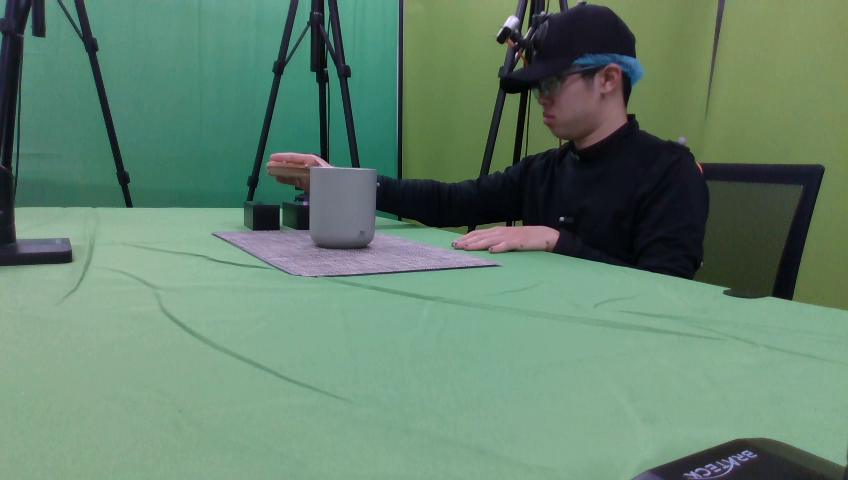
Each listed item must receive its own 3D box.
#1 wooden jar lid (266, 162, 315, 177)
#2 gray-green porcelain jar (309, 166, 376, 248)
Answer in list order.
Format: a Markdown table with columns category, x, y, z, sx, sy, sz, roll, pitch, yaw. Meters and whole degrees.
| category | x | y | z | sx | sy | sz | roll | pitch | yaw |
| --- | --- | --- | --- | --- | --- | --- | --- | --- | --- |
| wooden jar lid | -0.253 | -0.137 | 1.179 | 0.108 | 0.020 | 0.108 | 5 | 2 | 0 |
| gray-green porcelain jar | -0.130 | -0.054 | 0.966 | 0.106 | 0.126 | 0.106 | 2 | 7 | 0 |
